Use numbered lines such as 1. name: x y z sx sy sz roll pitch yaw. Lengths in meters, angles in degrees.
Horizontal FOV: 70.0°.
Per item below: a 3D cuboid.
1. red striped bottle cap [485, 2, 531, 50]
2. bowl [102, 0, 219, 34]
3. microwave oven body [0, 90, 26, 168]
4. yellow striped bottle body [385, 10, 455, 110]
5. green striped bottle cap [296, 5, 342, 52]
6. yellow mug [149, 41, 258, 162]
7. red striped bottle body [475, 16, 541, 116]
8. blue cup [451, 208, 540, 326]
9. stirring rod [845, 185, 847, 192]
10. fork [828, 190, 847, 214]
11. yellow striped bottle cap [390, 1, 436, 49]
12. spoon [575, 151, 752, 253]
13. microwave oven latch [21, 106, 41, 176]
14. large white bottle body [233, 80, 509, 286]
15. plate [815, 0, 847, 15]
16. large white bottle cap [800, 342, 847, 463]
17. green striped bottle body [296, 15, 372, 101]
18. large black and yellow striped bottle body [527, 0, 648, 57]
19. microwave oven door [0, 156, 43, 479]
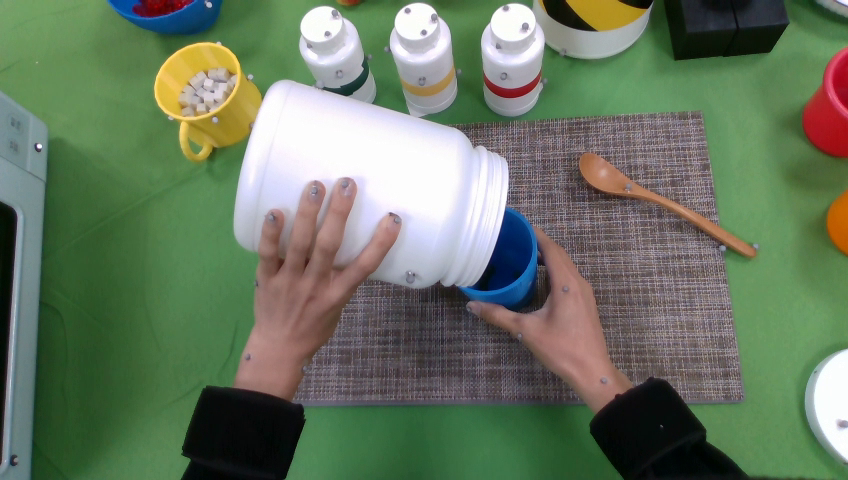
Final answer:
1. red striped bottle cap: 0.080 -0.205 0.580 0.044 0.018 0.044 -1 70 3
2. bowl: -0.306 -0.308 0.739 0.151 0.077 0.150 -2 72 6
3. microwave oven body: -0.589 0.050 0.556 0.326 0.262 0.438 -11 71 3
4. yellow striped bottle body: -0.004 -0.195 0.642 0.063 0.121 0.062 -3 71 8
5. green striped bottle cap: -0.105 -0.211 0.605 0.044 0.020 0.044 -2 71 5
6. yellow mug: -0.252 -0.151 0.687 0.100 0.064 0.130 8 73 8
7. red striped bottle body: 0.088 -0.187 0.630 0.063 0.121 0.062 -4 68 11
8. blue cup: 0.068 0.033 0.562 0.092 0.101 0.092 -11 54 15
9. stirring rod: 0.415 -0.010 0.522 0.014 0.006 0.175 0 29 5
10. fork: 0.443 -0.009 0.509 0.028 0.205 0.019 -23 115 -14
11. yellow striped bottle cap: -0.011 -0.211 0.594 0.044 0.019 0.044 -2 73 6
12. spoon: 0.238 -0.037 0.609 0.193 0.022 0.041 29 53 14
13. microwave oven latch: -0.461 -0.112 0.695 0.030 0.030 0.078 -9 72 4
14. large white bottle body: -0.038 -0.038 0.469 0.185 0.131 0.130 13 73 -7
15. plate: 0.495 -0.326 0.667 0.209 0.038 0.208 -2 72 6
16. large white bottle cap: 0.398 0.145 0.536 0.115 0.018 0.114 -2 71 6
17. green striped bottle body: -0.098 -0.195 0.654 0.063 0.120 0.063 -2 71 6
18. large black and yellow striped bottle body: 0.174 -0.293 0.619 0.130 0.185 0.130 -2 71 7
19. microwave oven door: -0.440 0.060 0.529 0.039 0.245 0.353 -11 71 4
